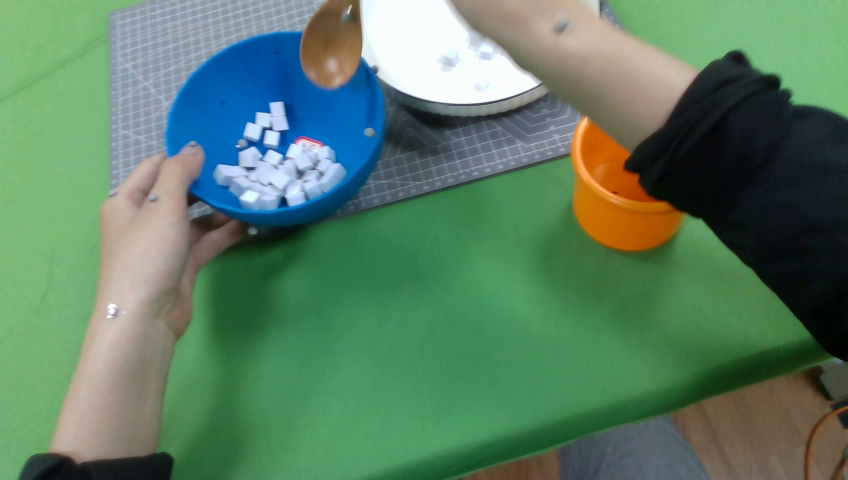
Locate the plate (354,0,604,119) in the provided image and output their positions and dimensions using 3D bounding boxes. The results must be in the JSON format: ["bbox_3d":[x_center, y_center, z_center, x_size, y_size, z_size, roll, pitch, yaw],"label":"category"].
[{"bbox_3d":[0.044,-0.183,0.515,0.209,0.038,0.207,-3,63,6],"label":"plate"}]

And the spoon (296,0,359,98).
[{"bbox_3d":[-0.038,-0.157,0.347,0.042,0.194,0.021,29,52,-5],"label":"spoon"}]

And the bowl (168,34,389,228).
[{"bbox_3d":[-0.095,-0.066,0.442,0.151,0.077,0.150,-2,65,4],"label":"bowl"}]
